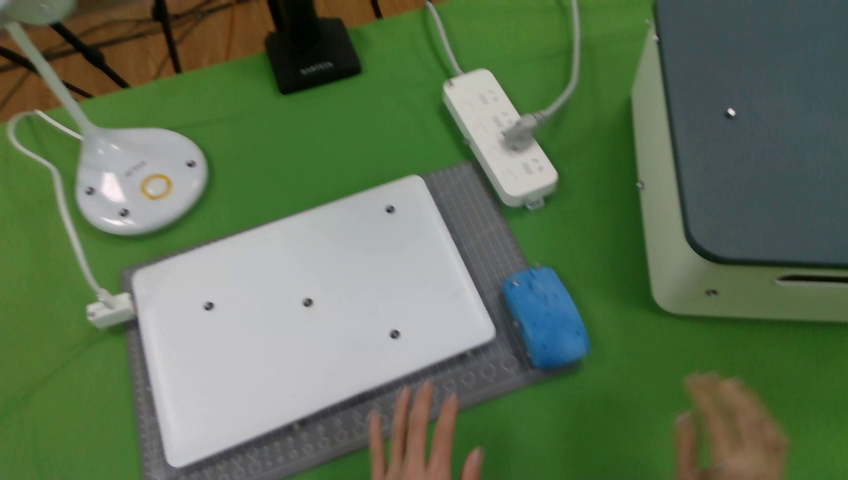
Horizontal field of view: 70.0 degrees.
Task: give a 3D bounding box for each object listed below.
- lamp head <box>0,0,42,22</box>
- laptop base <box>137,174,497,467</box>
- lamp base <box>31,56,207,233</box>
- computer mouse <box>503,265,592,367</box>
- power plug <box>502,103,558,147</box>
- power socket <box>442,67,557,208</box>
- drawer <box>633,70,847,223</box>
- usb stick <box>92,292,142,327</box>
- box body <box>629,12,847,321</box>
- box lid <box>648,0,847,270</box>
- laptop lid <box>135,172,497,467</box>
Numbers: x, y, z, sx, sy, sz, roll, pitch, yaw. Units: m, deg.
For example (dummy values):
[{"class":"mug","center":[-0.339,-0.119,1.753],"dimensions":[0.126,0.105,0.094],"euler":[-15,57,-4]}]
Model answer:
[{"class":"lamp head","center":[-0.329,-0.240,0.449],"dimensions":[0.112,0.112,0.124],"euler":[-48,113,-21]},{"class":"laptop base","center":[-0.124,0.073,0.677],"dimensions":[0.355,0.023,0.233],"euler":[-21,65,-9]},{"class":"lamp base","center":[-0.370,-0.121,0.705],"dimensions":[0.178,0.182,0.160],"euler":[25,64,19]},{"class":"computer mouse","center":[0.131,0.077,0.650],"dimensions":[0.063,0.041,0.116],"euler":[-17,57,-5]},{"class":"power plug","center":[0.133,-0.134,0.748],"dimensions":[0.072,0.053,0.035],"euler":[-11,59,-5]},{"class":"power socket","center":[0.093,-0.138,0.778],"dimensions":[0.072,0.033,0.224],"euler":[-21,62,-11]},{"class":"drawer","center":[0.372,-0.119,0.735],"dimensions":[0.194,0.074,0.209],"euler":[0,51,5]},{"class":"usb stick","center":[-0.333,0.075,0.671],"dimensions":[0.059,0.027,0.021],"euler":[-16,56,-10]},{"class":"box body","center":[0.377,-0.100,0.669],"dimensions":[0.254,0.162,0.361],"euler":[2,61,4]},{"class":"box lid","center":[0.374,-0.139,0.606],"dimensions":[0.263,0.015,0.368],"euler":[2,62,4]},{"class":"laptop lid","center":[-0.124,0.070,0.666],"dimensions":[0.357,0.013,0.239],"euler":[-19,64,-8]}]
